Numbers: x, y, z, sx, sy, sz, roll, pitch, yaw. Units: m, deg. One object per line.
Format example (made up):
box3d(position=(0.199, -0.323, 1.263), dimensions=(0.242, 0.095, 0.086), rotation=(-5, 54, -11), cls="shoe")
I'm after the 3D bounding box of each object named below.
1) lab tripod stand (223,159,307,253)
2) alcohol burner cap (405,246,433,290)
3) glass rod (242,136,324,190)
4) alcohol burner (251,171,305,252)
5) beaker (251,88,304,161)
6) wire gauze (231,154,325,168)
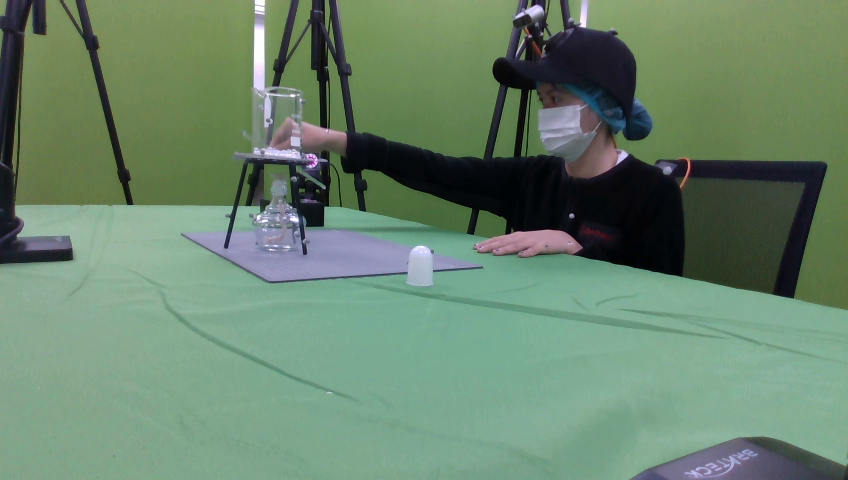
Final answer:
box3d(position=(-0.220, -0.053, 0.896), dimensions=(0.148, 0.131, 0.148), rotation=(1, 6, 0), cls="lab tripod stand")
box3d(position=(-0.005, 0.031, 0.698), dimensions=(0.034, 0.048, 0.034), rotation=(3, 8, 0), cls="alcohol burner cap")
box3d(position=(-0.281, -0.152, 1.221), dimensions=(0.201, 0.008, 0.008), rotation=(34, -11, -33), cls="glass rod")
box3d(position=(-0.214, -0.042, 0.888), dimensions=(0.078, 0.119, 0.078), rotation=(2, 9, 0), cls="alcohol burner")
box3d(position=(-0.214, -0.165, 0.874), dimensions=(0.074, 0.100, 0.084), rotation=(4, 6, 15), cls="beaker")
box3d(position=(-0.215, -0.117, 0.882), dimensions=(0.125, 0.011, 0.121), rotation=(3, 7, -19), cls="wire gauze")
